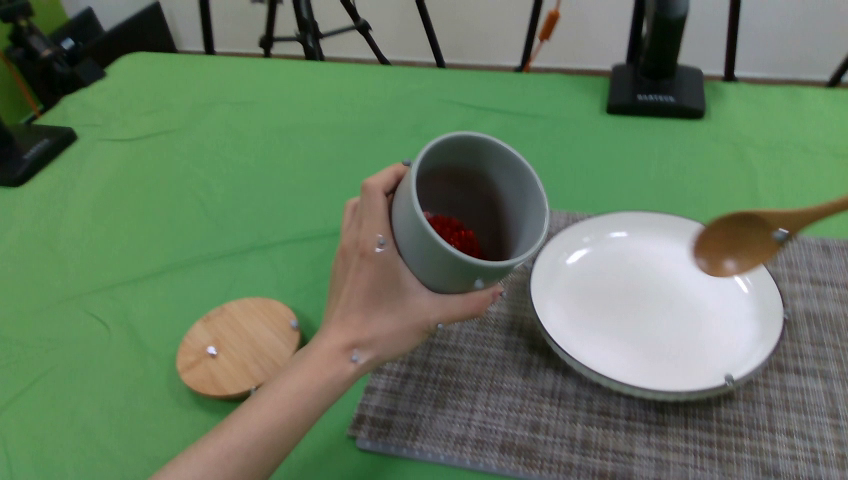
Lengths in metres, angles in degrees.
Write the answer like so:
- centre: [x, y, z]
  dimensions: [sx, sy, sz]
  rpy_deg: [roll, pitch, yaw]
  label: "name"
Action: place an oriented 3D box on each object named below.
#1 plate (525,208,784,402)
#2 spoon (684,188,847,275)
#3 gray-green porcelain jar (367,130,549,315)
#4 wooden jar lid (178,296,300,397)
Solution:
- centre: [0.193, 0.054, 0.528]
  dimensions: [0.207, 0.039, 0.205]
  rpy_deg: [-3, 44, 4]
  label: "plate"
- centre: [0.221, -0.022, 0.317]
  dimensions: [0.021, 0.194, 0.041]
  rpy_deg: [-29, 86, -33]
  label: "spoon"
- centre: [0.018, -0.005, 0.461]
  dimensions: [0.106, 0.127, 0.105]
  rpy_deg: [9, 63, -18]
  label: "gray-green porcelain jar"
- centre: [-0.165, 0.097, 0.546]
  dimensions: [0.108, 0.021, 0.107]
  rpy_deg: [-2, 44, 3]
  label: "wooden jar lid"
